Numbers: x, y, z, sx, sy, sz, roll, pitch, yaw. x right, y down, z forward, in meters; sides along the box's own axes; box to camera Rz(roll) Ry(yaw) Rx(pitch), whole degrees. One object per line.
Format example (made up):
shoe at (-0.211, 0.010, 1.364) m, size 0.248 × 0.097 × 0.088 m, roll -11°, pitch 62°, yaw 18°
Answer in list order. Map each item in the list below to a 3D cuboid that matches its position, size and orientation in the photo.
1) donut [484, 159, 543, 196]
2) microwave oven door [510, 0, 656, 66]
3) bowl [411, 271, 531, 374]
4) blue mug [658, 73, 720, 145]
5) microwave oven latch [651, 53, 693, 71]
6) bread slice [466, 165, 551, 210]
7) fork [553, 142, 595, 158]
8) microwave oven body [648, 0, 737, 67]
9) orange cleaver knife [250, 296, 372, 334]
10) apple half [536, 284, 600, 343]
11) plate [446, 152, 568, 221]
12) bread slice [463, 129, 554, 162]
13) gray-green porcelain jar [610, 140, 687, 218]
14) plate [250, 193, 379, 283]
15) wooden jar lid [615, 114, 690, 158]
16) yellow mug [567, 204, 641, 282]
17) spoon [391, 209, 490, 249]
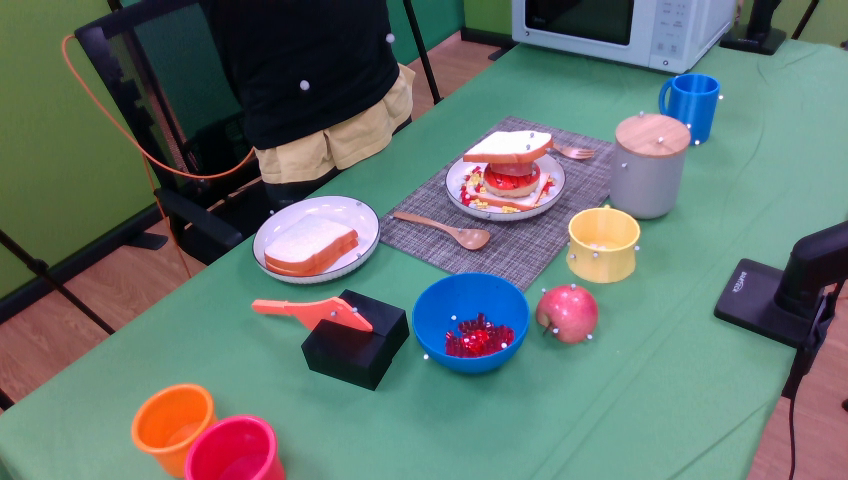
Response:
donut at (0.150, -0.112, 1.018) m, size 0.099 × 0.048 × 0.098 m, roll -5°, pitch 40°, yaw 4°
microwave oven door at (0.350, -0.539, 1.349) m, size 0.353 × 0.245 × 0.039 m, roll 24°, pitch 50°, yaw 31°
bowl at (0.062, 0.119, 0.780) m, size 0.151 × 0.077 × 0.150 m, roll -4°, pitch 40°, yaw 4°
blue mug at (0.483, -0.250, 1.127) m, size 0.082 × 0.106 × 0.115 m, roll -26°, pitch 44°, yaw -19°
microwave oven latch at (0.532, -0.386, 1.301) m, size 0.078 × 0.029 × 0.030 m, roll 27°, pitch 52°, yaw 34°
bread slice at (0.141, -0.093, 1.041) m, size 0.133 × 0.018 × 0.107 m, roll 8°, pitch 42°, yaw 20°
fork at (0.225, -0.186, 1.151) m, size 0.206 × 0.019 × 0.028 m, roll 21°, pitch 59°, yaw 27°
microwave oven body at (0.475, -0.602, 1.411) m, size 0.438 × 0.261 × 0.327 m, roll 23°, pitch 50°, yaw 32°
orange cleaver knife at (-0.159, 0.103, 0.828) m, size 0.210 × 0.078 × 0.012 m, roll -3°, pitch 43°, yaw 39°
apple half at (0.196, 0.091, 0.815) m, size 0.075 × 0.053 × 0.080 m, roll -22°, pitch 42°, yaw -20°
plate at (0.143, -0.097, 1.045) m, size 0.207 × 0.039 × 0.206 m, roll -4°, pitch 40°, yaw 4°
bread slice at (0.143, -0.154, 0.974) m, size 0.130 × 0.019 × 0.105 m, roll 9°, pitch 35°, yaw 38°
gray-green porcelain jar at (0.354, -0.106, 0.964) m, size 0.106 × 0.127 × 0.105 m, roll -4°, pitch 41°, yaw 4°
plate at (-0.174, -0.001, 0.984) m, size 0.209 × 0.038 × 0.208 m, roll -4°, pitch 40°, yaw 4°
wooden jar lid at (0.347, -0.155, 0.923) m, size 0.108 × 0.021 × 0.108 m, roll -3°, pitch 44°, yaw 4°
yellow mug at (0.268, -0.005, 0.905) m, size 0.099 × 0.064 × 0.130 m, roll 6°, pitch 42°, yaw 15°
spoon at (0.023, -0.025, 0.989) m, size 0.192 × 0.022 × 0.041 m, roll 20°, pitch 71°, yaw 28°
